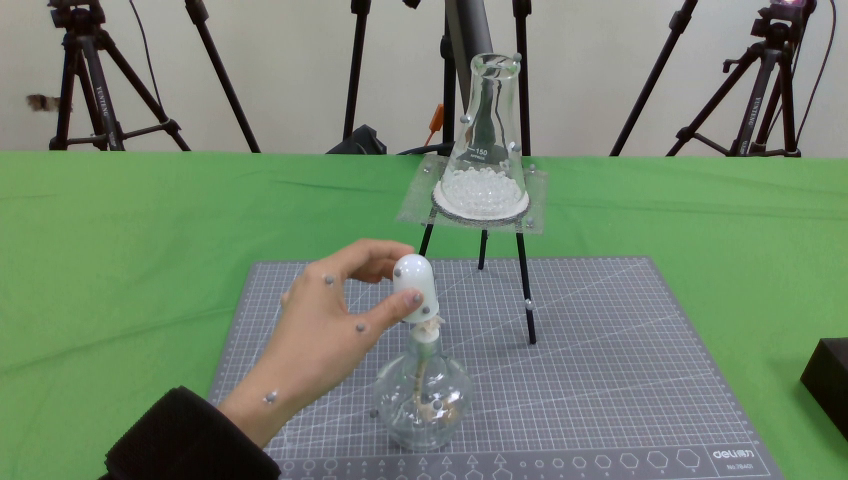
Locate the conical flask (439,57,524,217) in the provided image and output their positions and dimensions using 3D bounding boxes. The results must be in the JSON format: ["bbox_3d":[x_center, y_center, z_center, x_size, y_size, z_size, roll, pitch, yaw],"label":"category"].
[{"bbox_3d":[0.052,-0.086,0.500,0.075,0.123,0.074,2,35,-1],"label":"conical flask"}]

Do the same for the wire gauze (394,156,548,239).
[{"bbox_3d":[0.047,-0.038,0.537,0.121,0.011,0.124,8,37,9],"label":"wire gauze"}]

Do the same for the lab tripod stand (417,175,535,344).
[{"bbox_3d":[0.052,0.017,0.573,0.148,0.132,0.147,3,34,-2],"label":"lab tripod stand"}]

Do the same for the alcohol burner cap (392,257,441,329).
[{"bbox_3d":[-0.006,0.034,0.421,0.034,0.048,0.033,-5,33,3],"label":"alcohol burner cap"}]

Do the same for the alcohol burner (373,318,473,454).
[{"bbox_3d":[-0.001,0.104,0.459,0.078,0.120,0.077,1,32,0],"label":"alcohol burner"}]
